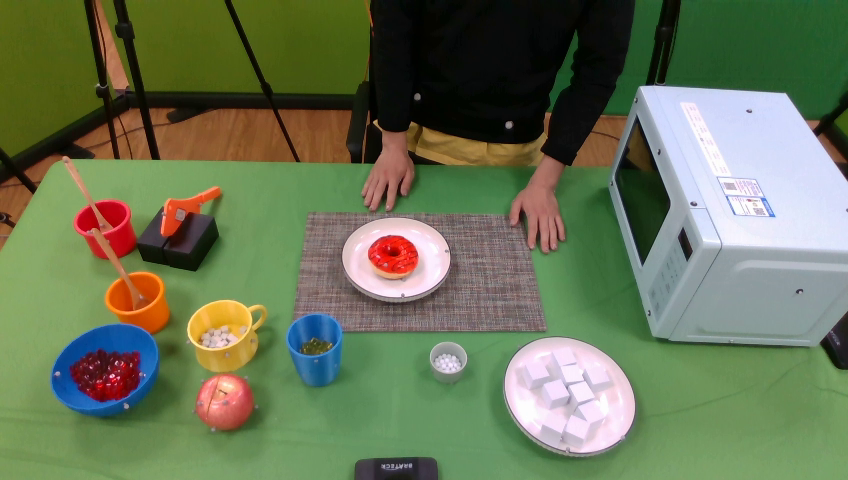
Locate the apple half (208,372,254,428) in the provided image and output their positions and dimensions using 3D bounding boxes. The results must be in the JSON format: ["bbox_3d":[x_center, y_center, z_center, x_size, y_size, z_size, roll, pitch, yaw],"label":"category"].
[{"bbox_3d":[-0.282,0.243,0.908,0.053,0.075,0.080,7,43,-1],"label":"apple half"}]

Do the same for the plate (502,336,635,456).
[{"bbox_3d":[0.225,0.248,0.963,0.208,0.039,0.206,2,46,-2],"label":"plate"}]

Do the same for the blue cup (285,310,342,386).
[{"bbox_3d":[-0.169,0.179,0.958,0.093,0.101,0.092,1,44,-1],"label":"blue cup"}]

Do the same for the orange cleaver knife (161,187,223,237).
[{"bbox_3d":[-0.448,-0.058,1.180,0.012,0.077,0.211,13,17,6],"label":"orange cleaver knife"}]

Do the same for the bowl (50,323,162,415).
[{"bbox_3d":[-0.472,0.209,0.924,0.151,0.077,0.150,3,45,-2],"label":"bowl"}]

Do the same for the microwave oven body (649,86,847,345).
[{"bbox_3d":[0.568,-0.053,1.118,0.326,0.261,0.439,2,45,-1],"label":"microwave oven body"}]

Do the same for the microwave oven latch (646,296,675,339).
[{"bbox_3d":[0.412,0.134,1.061,0.030,0.029,0.078,4,45,1],"label":"microwave oven latch"}]

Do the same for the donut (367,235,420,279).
[{"bbox_3d":[-0.057,0.032,1.132,0.099,0.048,0.098,3,45,-3],"label":"donut"}]

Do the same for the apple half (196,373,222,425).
[{"bbox_3d":[-0.322,0.239,0.906,0.033,0.081,0.081,7,46,-1],"label":"apple half"}]

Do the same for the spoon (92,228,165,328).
[{"bbox_3d":[-0.496,0.063,1.014,0.041,0.194,0.021,-33,12,-31],"label":"spoon"}]

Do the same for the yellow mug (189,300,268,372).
[{"bbox_3d":[-0.315,0.149,1.001,0.131,0.064,0.099,-32,55,-31],"label":"yellow mug"}]

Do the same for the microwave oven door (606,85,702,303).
[{"bbox_3d":[0.423,-0.094,1.140,0.039,0.245,0.353,2,46,-1],"label":"microwave oven door"}]

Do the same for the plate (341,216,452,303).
[{"bbox_3d":[-0.052,0.039,1.140,0.209,0.038,0.208,2,46,-2],"label":"plate"}]

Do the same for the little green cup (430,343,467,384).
[{"bbox_3d":[0.039,0.203,0.994,0.061,0.039,0.061,2,46,-2],"label":"little green cup"}]

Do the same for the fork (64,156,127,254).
[{"bbox_3d":[-0.614,-0.064,1.130,0.028,0.018,0.207,-29,97,-16],"label":"fork"}]
